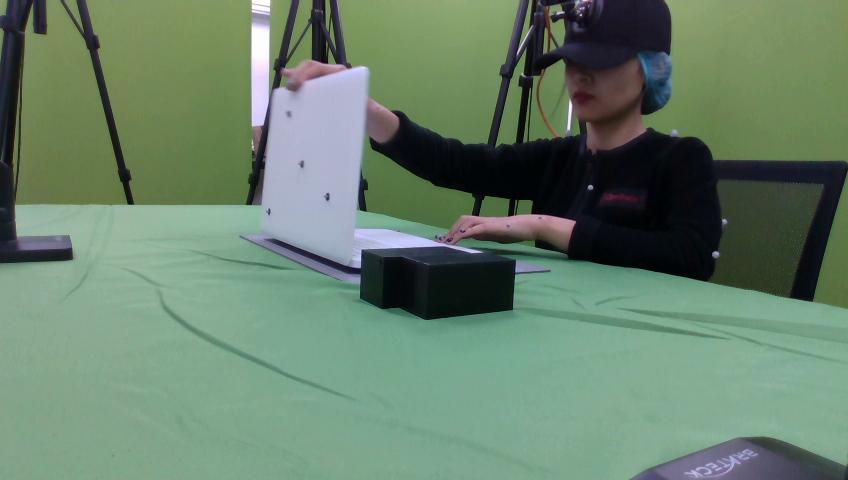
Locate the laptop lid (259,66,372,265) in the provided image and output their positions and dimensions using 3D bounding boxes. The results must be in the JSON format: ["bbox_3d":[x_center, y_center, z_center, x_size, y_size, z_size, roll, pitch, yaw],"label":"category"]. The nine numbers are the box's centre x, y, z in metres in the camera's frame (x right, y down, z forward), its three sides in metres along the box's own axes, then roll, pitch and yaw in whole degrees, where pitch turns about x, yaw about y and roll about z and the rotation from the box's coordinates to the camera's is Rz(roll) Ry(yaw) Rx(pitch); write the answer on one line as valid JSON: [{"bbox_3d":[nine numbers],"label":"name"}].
[{"bbox_3d":[-0.166,-0.107,0.840,0.013,0.241,0.355,5,6,-32],"label":"laptop lid"}]

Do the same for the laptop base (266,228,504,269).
[{"bbox_3d":[-0.077,0.009,0.915,0.237,0.023,0.352,2,6,-33],"label":"laptop base"}]
